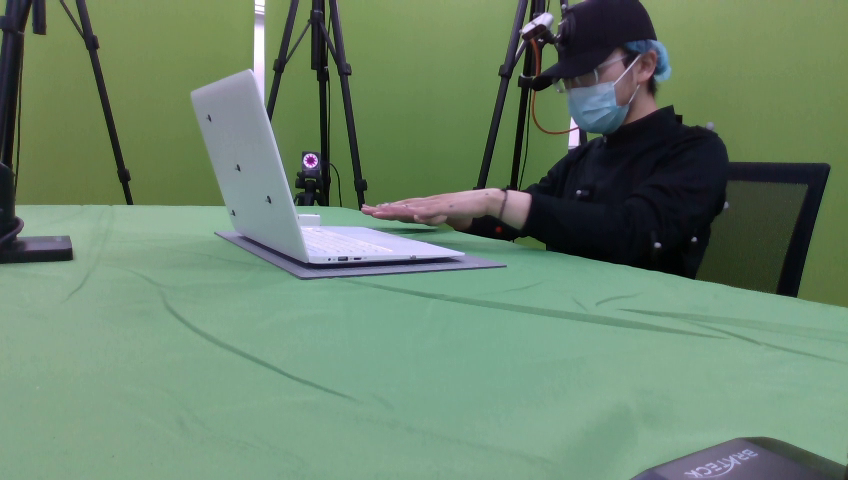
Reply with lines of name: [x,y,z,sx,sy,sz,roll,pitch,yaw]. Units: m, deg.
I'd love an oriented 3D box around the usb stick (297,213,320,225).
usb stick: [-0.242,-0.040,1.221,0.059,0.027,0.021,-5,11,-28]

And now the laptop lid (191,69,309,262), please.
laptop lid: [-0.254,-0.103,0.842,0.013,0.242,0.355,-22,20,-27]

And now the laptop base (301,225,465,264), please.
laptop base: [-0.128,0.005,0.937,0.237,0.023,0.352,2,6,-32]
